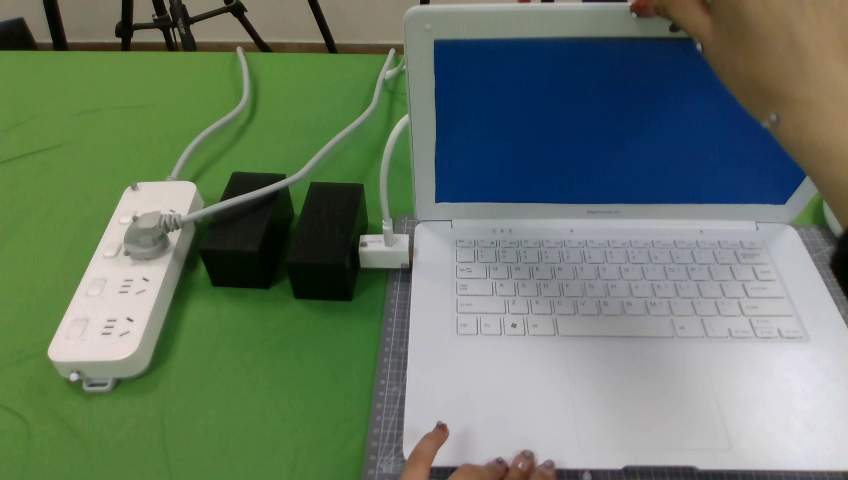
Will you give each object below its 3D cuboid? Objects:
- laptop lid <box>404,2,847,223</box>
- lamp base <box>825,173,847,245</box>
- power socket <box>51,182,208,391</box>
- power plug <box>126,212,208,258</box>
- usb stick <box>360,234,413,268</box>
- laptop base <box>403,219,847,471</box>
[{"bbox_3d":[0.164,-0.082,0.475,0.357,0.244,0.013,-1,56,2],"label":"laptop lid"},{"bbox_3d":[0.471,-0.075,0.519,0.159,0.182,0.179,32,51,28],"label":"lamp base"},{"bbox_3d":[-0.251,0.026,0.536,0.072,0.033,0.224,0,46,-1],"label":"power socket"},{"bbox_3d":[-0.222,0.002,0.526,0.072,0.053,0.035,7,47,7],"label":"power plug"},{"bbox_3d":[-0.027,0.010,0.539,0.059,0.027,0.021,3,45,-1],"label":"usb stick"},{"bbox_3d":[0.164,0.073,0.494,0.354,0.023,0.233,0,49,1],"label":"laptop base"}]
